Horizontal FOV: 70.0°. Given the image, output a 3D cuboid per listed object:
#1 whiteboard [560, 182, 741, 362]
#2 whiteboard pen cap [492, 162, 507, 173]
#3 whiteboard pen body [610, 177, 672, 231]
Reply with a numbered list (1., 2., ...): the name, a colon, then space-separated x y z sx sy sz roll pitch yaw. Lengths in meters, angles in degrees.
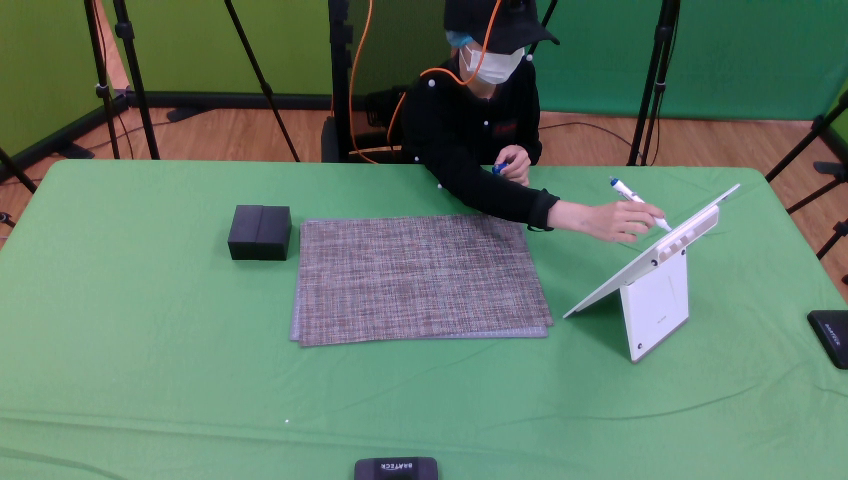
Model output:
1. whiteboard: 0.406 0.075 1.001 0.217 0.306 0.143 -28 73 -28
2. whiteboard pen cap: 0.161 -0.157 1.302 0.033 0.018 0.018 -18 50 -15
3. whiteboard pen body: 0.374 -0.058 1.035 0.141 0.017 0.017 40 51 -4
